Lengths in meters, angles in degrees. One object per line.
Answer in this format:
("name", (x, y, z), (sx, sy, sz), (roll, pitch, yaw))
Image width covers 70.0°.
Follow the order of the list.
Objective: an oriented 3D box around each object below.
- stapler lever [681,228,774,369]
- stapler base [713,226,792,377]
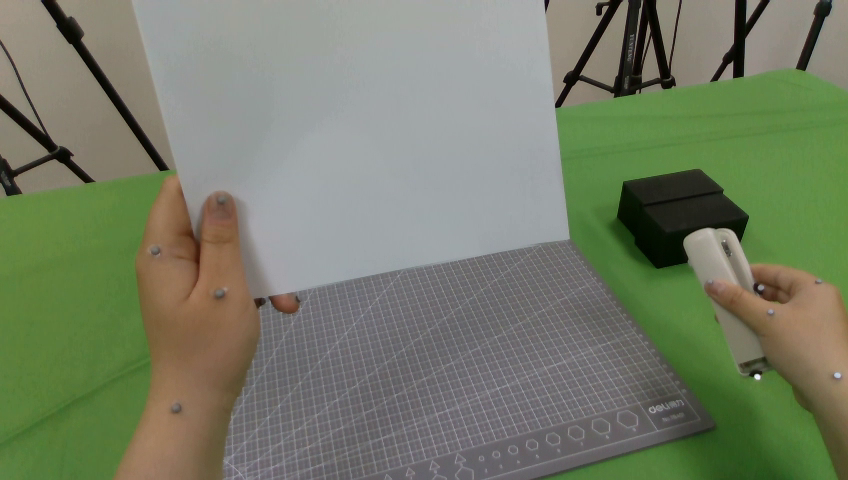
("stapler lever", (0.245, 0.045, 0.495), (0.040, 0.027, 0.117), (13, 56, -43))
("stapler base", (0.262, 0.048, 0.513), (0.024, 0.041, 0.129), (12, 56, -44))
